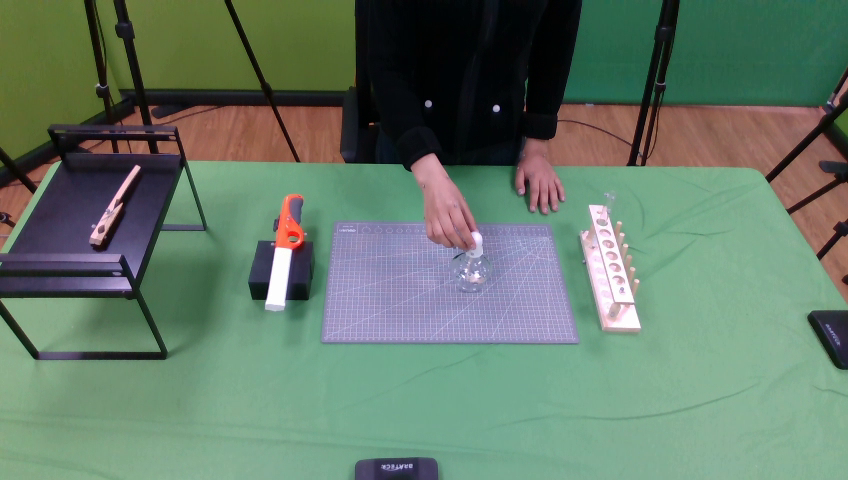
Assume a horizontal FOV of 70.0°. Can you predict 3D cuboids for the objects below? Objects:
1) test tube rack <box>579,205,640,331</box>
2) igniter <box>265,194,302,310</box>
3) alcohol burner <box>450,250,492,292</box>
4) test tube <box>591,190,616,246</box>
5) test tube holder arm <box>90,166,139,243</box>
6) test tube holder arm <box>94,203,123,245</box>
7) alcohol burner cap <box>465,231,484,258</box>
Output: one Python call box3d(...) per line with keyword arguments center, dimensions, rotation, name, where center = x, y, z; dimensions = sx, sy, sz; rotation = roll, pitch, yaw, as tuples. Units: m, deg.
box3d(center=(0.353, 0.047, 1.137), dimensions=(0.067, 0.085, 0.241), rotation=(2, 46, -2), name="test tube rack")
box3d(center=(-0.253, 0.012, 1.099), dimensions=(0.057, 0.025, 0.274), rotation=(9, 46, -12), name="igniter")
box3d(center=(0.087, 0.038, 1.101), dimensions=(0.078, 0.119, 0.077), rotation=(3, 45, -3), name="alcohol burner")
box3d(center=(0.338, -0.038, 1.149), dimensions=(0.017, 0.151, 0.017), rotation=(0, 51, 0), name="test tube")
box3d(center=(-0.493, -0.061, 0.970), dimensions=(0.013, 0.015, 0.177), rotation=(28, 38, -25), name="test tube holder arm")
box3d(center=(-0.489, -0.027, 0.941), dimensions=(0.010, 0.015, 0.087), rotation=(29, 38, -24), name="test tube holder arm")
box3d(center=(0.088, 0.006, 1.067), dimensions=(0.034, 0.048, 0.033), rotation=(-4, 48, 5), name="alcohol burner cap")
